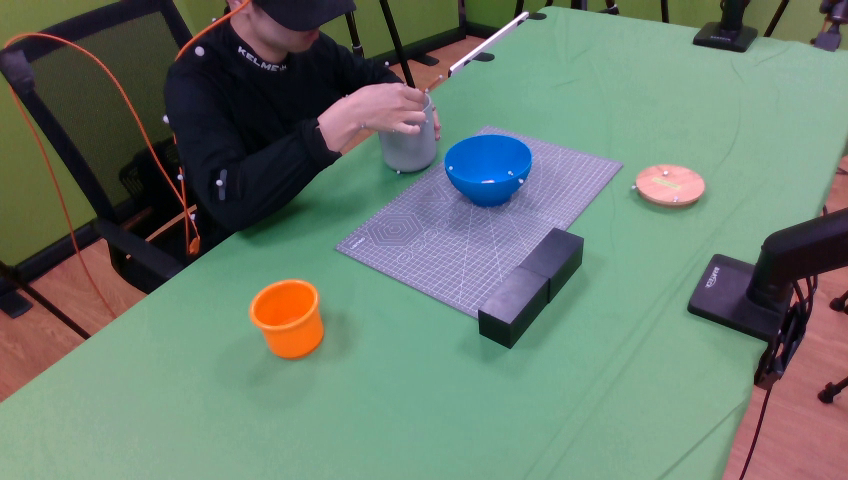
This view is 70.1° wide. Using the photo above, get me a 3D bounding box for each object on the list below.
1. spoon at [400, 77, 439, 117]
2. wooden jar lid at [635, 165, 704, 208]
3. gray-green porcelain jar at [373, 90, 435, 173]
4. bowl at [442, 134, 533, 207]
[{"bbox_3d":[-0.023,-0.234,1.064,0.042,0.193,0.021,-21,79,-31],"label":"spoon"},{"bbox_3d":[0.411,-0.089,1.014,0.108,0.021,0.108,-5,41,5],"label":"wooden jar lid"},{"bbox_3d":[-0.034,-0.198,1.125,0.106,0.127,0.105,-4,41,4],"label":"gray-green porcelain jar"},{"bbox_3d":[0.110,-0.109,1.033,0.151,0.077,0.150,-4,41,4],"label":"bowl"}]
